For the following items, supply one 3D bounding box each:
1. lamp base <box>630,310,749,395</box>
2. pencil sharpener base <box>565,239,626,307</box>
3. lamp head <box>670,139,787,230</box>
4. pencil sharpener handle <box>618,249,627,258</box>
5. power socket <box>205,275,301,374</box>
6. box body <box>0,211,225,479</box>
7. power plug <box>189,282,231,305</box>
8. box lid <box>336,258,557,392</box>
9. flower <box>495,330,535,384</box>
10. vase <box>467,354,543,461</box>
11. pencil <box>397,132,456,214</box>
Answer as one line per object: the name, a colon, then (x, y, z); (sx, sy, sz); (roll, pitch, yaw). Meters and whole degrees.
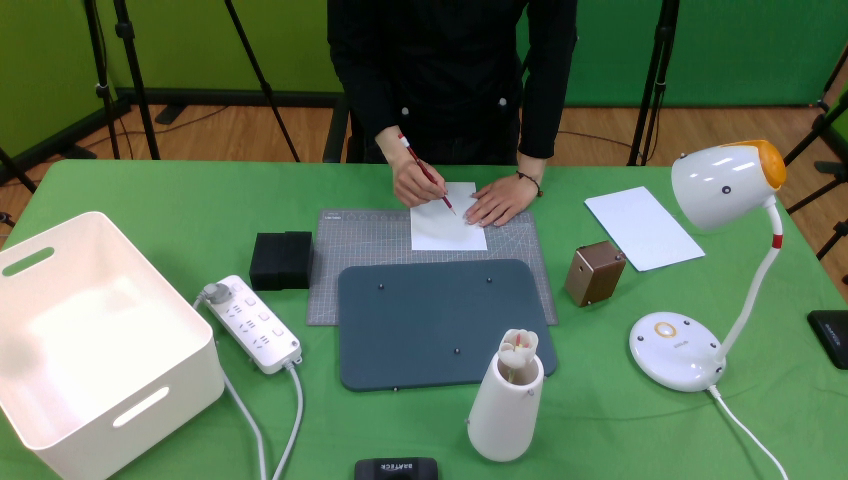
lamp base: (0.447, 0.142, 0.984); (0.161, 0.181, 0.178); (-24, 55, -24)
pencil sharpener base: (0.313, 0.060, 1.104); (0.077, 0.107, 0.061); (-15, 49, -18)
lamp head: (0.415, -0.079, 0.812); (0.113, 0.123, 0.112); (13, 70, -37)
pencil sharpener handle: (0.359, 0.036, 1.113); (0.031, 0.068, 0.036); (-15, 62, -18)
power socket: (-0.296, 0.140, 1.035); (0.072, 0.033, 0.225); (-32, 57, -29)
box body: (-0.504, 0.154, 0.916); (0.362, 0.161, 0.254); (36, 54, 27)
power plug: (-0.368, 0.097, 1.039); (0.072, 0.053, 0.035); (-26, 55, -20)
box lid: (0.030, 0.140, 1.073); (0.372, 0.015, 0.261); (-3, 47, -7)
flower: (0.110, 0.187, 0.791); (0.044, 0.363, 0.038); (-32, 65, -10)
vase: (0.116, 0.234, 0.861); (0.098, 0.201, 0.097); (1, 47, -1)
pencil: (0.007, -0.128, 1.186); (0.012, 0.012, 0.194); (-43, 102, -35)
